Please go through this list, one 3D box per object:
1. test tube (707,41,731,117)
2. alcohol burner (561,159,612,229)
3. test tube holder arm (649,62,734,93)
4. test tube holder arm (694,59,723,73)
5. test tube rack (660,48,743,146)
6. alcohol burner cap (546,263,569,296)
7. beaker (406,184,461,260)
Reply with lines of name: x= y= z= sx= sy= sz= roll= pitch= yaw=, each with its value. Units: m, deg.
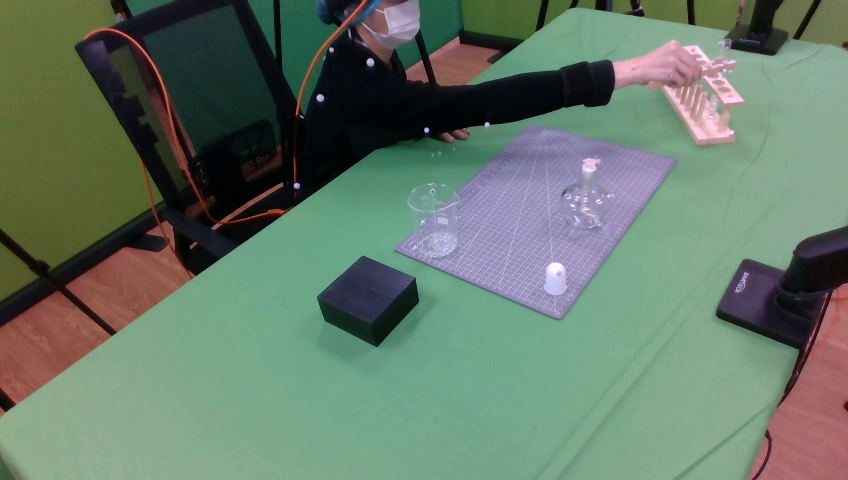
test tube: x=0.541 y=-0.293 z=1.111 sx=0.017 sy=0.151 sz=0.017 roll=-5 pitch=42 yaw=5
alcohol burner: x=0.257 y=-0.077 z=0.951 sx=0.078 sy=0.119 sz=0.077 roll=-3 pitch=40 yaw=3
test tube holder arm: x=0.476 y=-0.289 z=1.072 sx=0.179 sy=0.015 sz=0.013 roll=-18 pitch=35 yaw=-16
test tube holder arm: x=0.512 y=-0.307 z=1.092 sx=0.088 sy=0.015 sz=0.010 roll=-30 pitch=40 yaw=-29
test tube rack: x=0.532 y=-0.284 z=1.180 sx=0.067 sy=0.085 sz=0.241 roll=-5 pitch=40 yaw=4
alcohol burner cap: x=0.191 y=0.053 z=0.862 sx=0.034 sy=0.048 sz=0.033 roll=-5 pitch=40 yaw=4
beaker: x=0.019 y=-0.026 z=0.939 sx=0.084 sy=0.101 sz=0.074 roll=1 pitch=41 yaw=9
